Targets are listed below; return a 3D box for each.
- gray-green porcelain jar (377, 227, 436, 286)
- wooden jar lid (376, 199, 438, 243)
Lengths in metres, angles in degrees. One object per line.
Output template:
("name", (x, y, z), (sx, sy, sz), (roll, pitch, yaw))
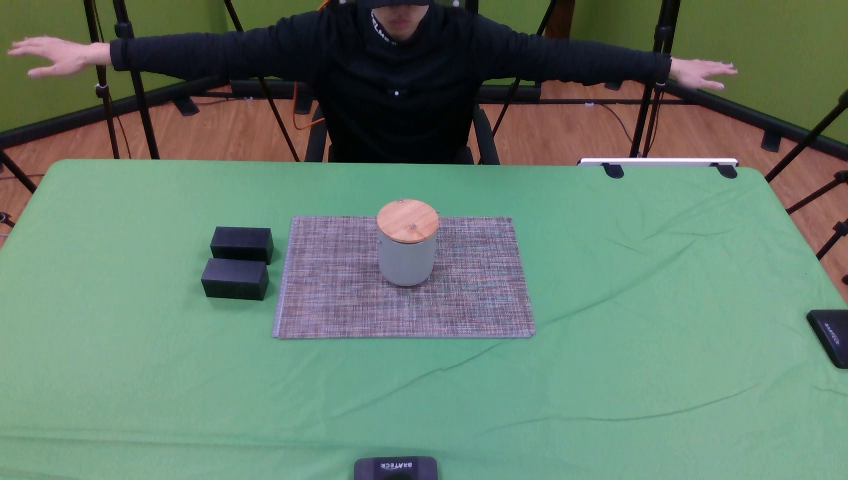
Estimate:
("gray-green porcelain jar", (-0.033, 0.014, 1.106), (0.106, 0.127, 0.105), (2, 46, -2))
("wooden jar lid", (-0.029, -0.030, 1.059), (0.108, 0.021, 0.107), (2, 43, -2))
